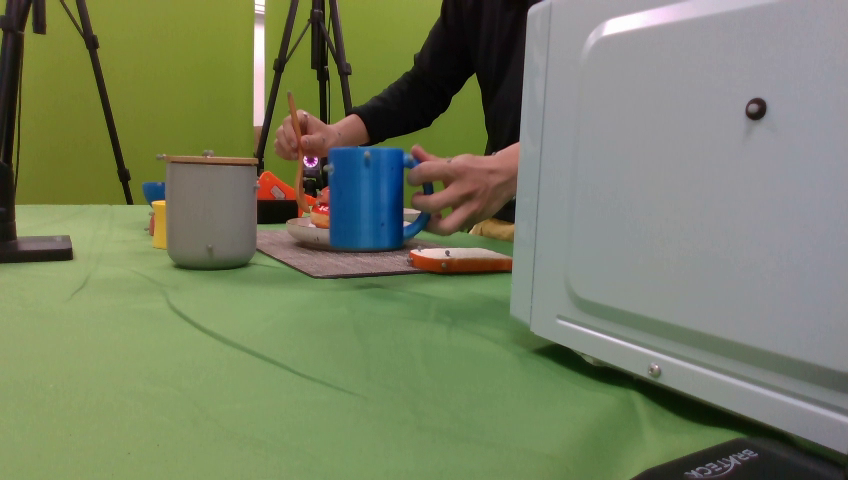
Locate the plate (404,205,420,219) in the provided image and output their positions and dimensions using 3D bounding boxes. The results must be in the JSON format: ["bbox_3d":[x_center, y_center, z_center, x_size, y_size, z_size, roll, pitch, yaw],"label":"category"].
[{"bbox_3d":[-0.102,-0.053,1.299,0.209,0.038,0.209,2,8,0],"label":"plate"}]

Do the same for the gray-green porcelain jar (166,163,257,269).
[{"bbox_3d":[-0.263,-0.031,0.754,0.106,0.126,0.106,2,7,0],"label":"gray-green porcelain jar"}]

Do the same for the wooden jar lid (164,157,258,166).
[{"bbox_3d":[-0.261,-0.093,0.746,0.108,0.020,0.108,0,9,0],"label":"wooden jar lid"}]

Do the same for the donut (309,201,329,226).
[{"bbox_3d":[-0.132,-0.042,0.959,0.099,0.048,0.099,3,7,0],"label":"donut"}]

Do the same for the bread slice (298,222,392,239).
[{"bbox_3d":[-0.121,-0.016,0.969,0.106,0.018,0.135,8,7,41],"label":"bread slice"}]

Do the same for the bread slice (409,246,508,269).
[{"bbox_3d":[0.048,0.022,0.816,0.132,0.019,0.104,0,7,-24],"label":"bread slice"}]

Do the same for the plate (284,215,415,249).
[{"bbox_3d":[-0.116,-0.014,0.967,0.208,0.039,0.207,2,7,0],"label":"plate"}]

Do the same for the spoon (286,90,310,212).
[{"bbox_3d":[-0.199,-0.140,0.958,0.021,0.193,0.041,-3,8,3],"label":"spoon"}]

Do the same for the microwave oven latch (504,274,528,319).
[{"bbox_3d":[0.100,0.041,0.470,0.079,0.029,0.030,-1,7,-27],"label":"microwave oven latch"}]

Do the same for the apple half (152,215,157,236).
[{"bbox_3d":[-0.415,-0.034,1.017,0.081,0.053,0.074,1,10,-9],"label":"apple half"}]

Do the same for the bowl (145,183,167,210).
[{"bbox_3d":[-0.459,-0.069,1.175,0.151,0.077,0.151,3,7,0],"label":"bowl"}]

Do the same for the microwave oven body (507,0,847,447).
[{"bbox_3d":[0.331,-0.042,0.425,0.444,0.260,0.324,-2,8,-31],"label":"microwave oven body"}]

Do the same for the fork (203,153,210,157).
[{"bbox_3d":[-0.480,-0.136,1.411,0.028,0.018,0.207,0,-34,-1],"label":"fork"}]

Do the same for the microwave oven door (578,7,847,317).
[{"bbox_3d":[0.294,-0.067,0.570,0.358,0.243,0.039,-3,9,-31],"label":"microwave oven door"}]

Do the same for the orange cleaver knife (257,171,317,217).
[{"bbox_3d":[-0.283,-0.087,1.343,0.212,0.077,0.012,24,-16,-41],"label":"orange cleaver knife"}]

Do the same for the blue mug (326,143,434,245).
[{"bbox_3d":[-0.047,-0.051,0.659,0.116,0.106,0.082,0,7,3],"label":"blue mug"}]

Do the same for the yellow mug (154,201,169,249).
[{"bbox_3d":[-0.337,-0.022,0.899,0.130,0.064,0.100,8,9,34],"label":"yellow mug"}]

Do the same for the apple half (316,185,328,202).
[{"bbox_3d":[-0.128,-0.077,0.954,0.081,0.033,0.081,6,13,-1],"label":"apple half"}]
